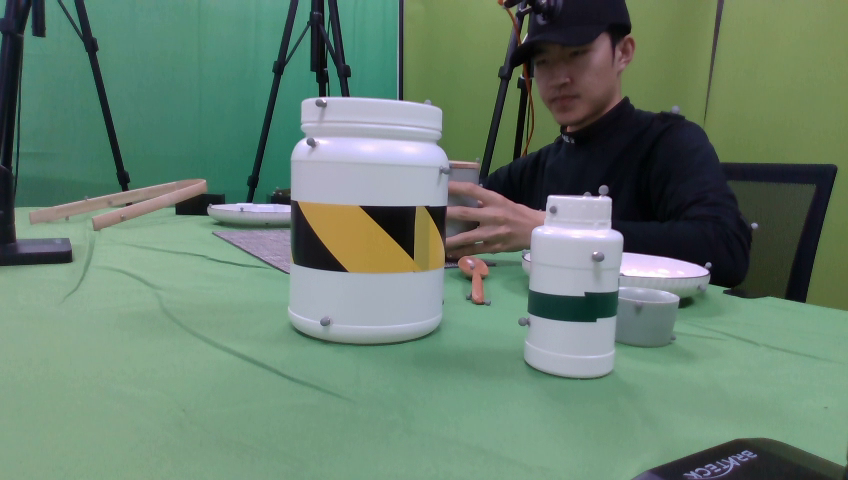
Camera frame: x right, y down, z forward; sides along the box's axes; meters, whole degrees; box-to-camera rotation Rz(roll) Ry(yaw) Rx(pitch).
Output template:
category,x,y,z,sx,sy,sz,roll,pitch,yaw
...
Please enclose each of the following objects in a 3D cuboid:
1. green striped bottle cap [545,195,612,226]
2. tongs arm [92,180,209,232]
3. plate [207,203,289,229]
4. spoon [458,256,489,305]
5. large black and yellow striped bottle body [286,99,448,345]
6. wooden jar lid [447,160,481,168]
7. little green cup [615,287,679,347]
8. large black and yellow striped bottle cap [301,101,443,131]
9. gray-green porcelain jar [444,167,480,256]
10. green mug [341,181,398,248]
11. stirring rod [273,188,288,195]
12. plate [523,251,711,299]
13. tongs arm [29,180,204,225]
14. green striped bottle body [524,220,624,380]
category,x,y,z,sx,sy,sz,roll,pitch,yaw
green striped bottle cap,0.106,-0.020,0.414,0.044,0.020,0.044,2,4,0
tongs arm,-0.534,-0.075,1.222,0.028,0.028,0.388,-2,15,12
plate,-0.342,-0.050,1.259,0.208,0.039,0.207,3,7,0
spoon,0.059,0.044,0.696,0.041,0.021,0.194,19,7,0
large black and yellow striped bottle body,-0.047,-0.018,0.501,0.131,0.184,0.130,2,7,0
wooden jar lid,0.028,-0.106,0.878,0.108,0.020,0.108,4,10,0
little green cup,0.180,0.064,0.506,0.061,0.038,0.061,2,8,0
large black and yellow striped bottle cap,-0.042,-0.100,0.491,0.115,0.019,0.115,1,8,0
gray-green porcelain jar,0.027,-0.044,0.885,0.106,0.126,0.106,1,7,0
green mug,-0.090,-0.044,0.996,0.093,0.105,0.125,0,7,-9
stirring rod,-0.353,-0.122,1.519,0.006,0.014,0.176,2,6,1
plate,0.219,0.041,0.706,0.209,0.038,0.209,2,7,0
tongs arm,-0.609,-0.083,1.245,0.050,0.026,0.386,5,16,23
green striped bottle body,0.104,0.031,0.422,0.063,0.119,0.063,2,8,0
